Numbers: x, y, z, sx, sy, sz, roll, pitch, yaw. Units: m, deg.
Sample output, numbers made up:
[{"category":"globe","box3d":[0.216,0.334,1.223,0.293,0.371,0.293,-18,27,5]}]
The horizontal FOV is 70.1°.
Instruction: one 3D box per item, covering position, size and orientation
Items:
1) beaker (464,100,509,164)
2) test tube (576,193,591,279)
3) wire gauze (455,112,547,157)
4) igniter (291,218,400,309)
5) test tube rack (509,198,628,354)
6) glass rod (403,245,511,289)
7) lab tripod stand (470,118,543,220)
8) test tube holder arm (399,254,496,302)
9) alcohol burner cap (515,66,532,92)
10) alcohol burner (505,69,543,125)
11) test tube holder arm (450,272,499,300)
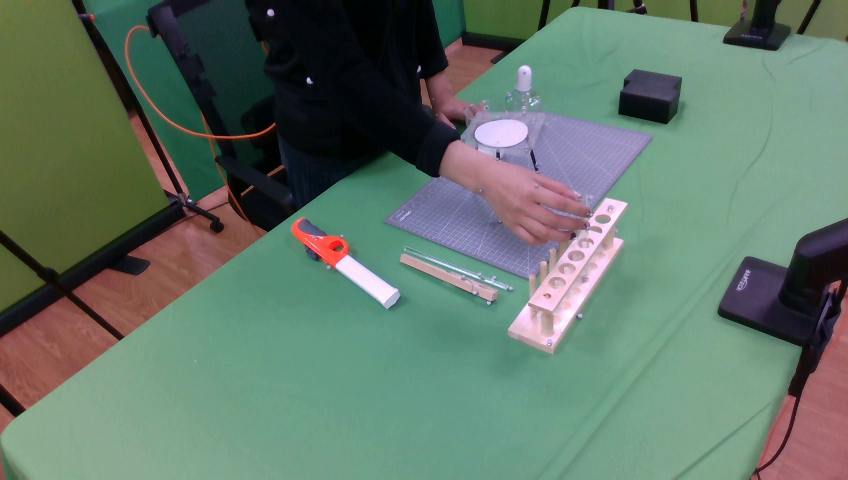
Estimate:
[{"category":"beaker","box3d":[0.120,-0.200,1.133,0.083,0.101,0.074,5,43,16]},{"category":"test tube","box3d":[0.216,-0.002,0.818,0.017,0.151,0.017,-8,41,8]},{"category":"wire gauze","box3d":[0.125,-0.176,0.973,0.124,0.011,0.121,10,42,22]},{"category":"igniter","box3d":[-0.135,0.031,0.970,0.057,0.025,0.274,-41,49,-19]},{"category":"test tube rack","box3d":[0.206,0.039,0.849,0.066,0.085,0.243,20,48,30]},{"category":"glass rod","box3d":[0.047,0.040,0.938,0.198,0.008,0.008,21,49,30]},{"category":"lab tripod stand","box3d":[0.135,-0.128,1.019,0.148,0.132,0.147,-5,38,5]},{"category":"test tube holder arm","box3d":[0.032,0.054,0.914,0.177,0.015,0.013,21,16,32]},{"category":"alcohol burner cap","box3d":[0.199,-0.319,1.192,0.034,0.048,0.033,0,47,1]},{"category":"alcohol burner","box3d":[0.201,-0.293,1.216,0.078,0.119,0.077,-4,41,4]},{"category":"test tube holder arm","box3d":[0.071,0.068,0.894,0.087,0.015,0.010,22,16,33]}]
